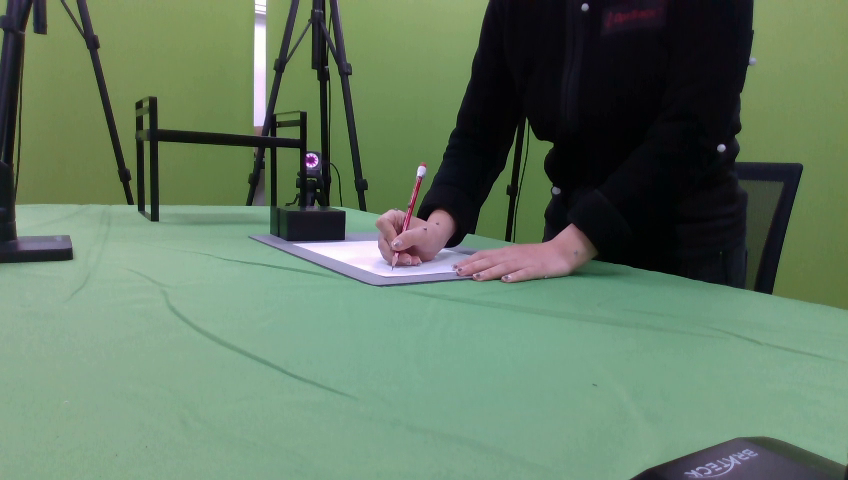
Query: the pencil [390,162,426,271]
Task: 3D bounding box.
[{"bbox_3d":[-0.022,-0.036,0.813,0.012,0.012,0.194,5,51,14],"label":"pencil"}]
